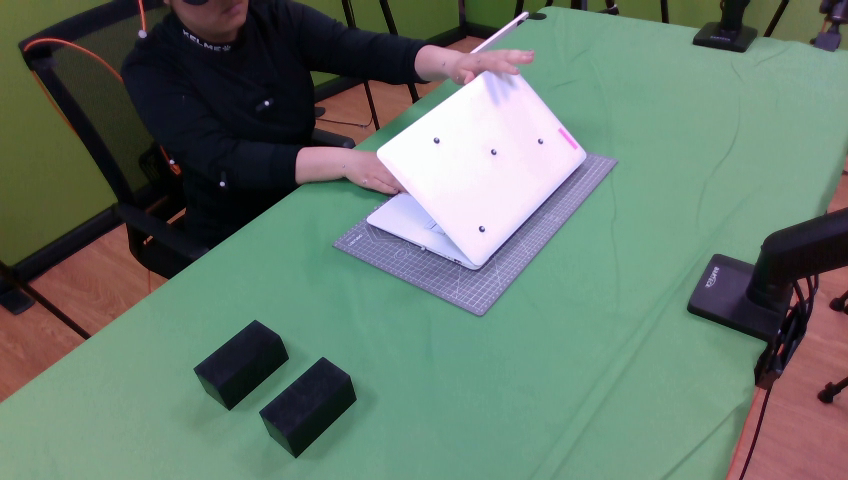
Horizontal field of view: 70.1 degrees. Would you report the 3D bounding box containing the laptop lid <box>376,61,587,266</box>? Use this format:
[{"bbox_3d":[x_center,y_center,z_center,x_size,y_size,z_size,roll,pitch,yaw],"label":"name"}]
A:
[{"bbox_3d":[0.112,-0.141,0.988,0.241,0.013,0.358,50,56,0],"label":"laptop lid"}]

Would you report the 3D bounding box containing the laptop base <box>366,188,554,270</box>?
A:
[{"bbox_3d":[0.097,-0.085,1.058,0.233,0.023,0.355,21,47,34],"label":"laptop base"}]
